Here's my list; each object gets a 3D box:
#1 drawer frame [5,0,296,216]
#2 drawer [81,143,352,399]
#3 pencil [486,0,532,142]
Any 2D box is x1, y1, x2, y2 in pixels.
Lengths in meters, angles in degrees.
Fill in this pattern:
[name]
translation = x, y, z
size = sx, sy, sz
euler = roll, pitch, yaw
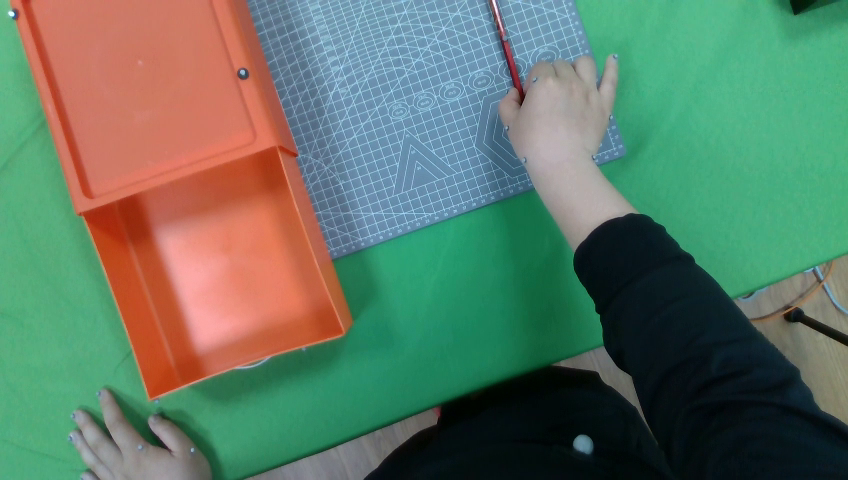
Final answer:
[drawer frame]
translation = -0.255, -0.150, 0.580
size = 0.201, 0.083, 0.213
euler = -19, 89, 3
[drawer]
translation = -0.196, 0.020, 0.585
size = 0.194, 0.073, 0.212
euler = -19, 93, 3
[pencil]
translation = 0.079, -0.191, 0.603
size = 0.012, 0.012, 0.194
euler = -17, 92, 3
